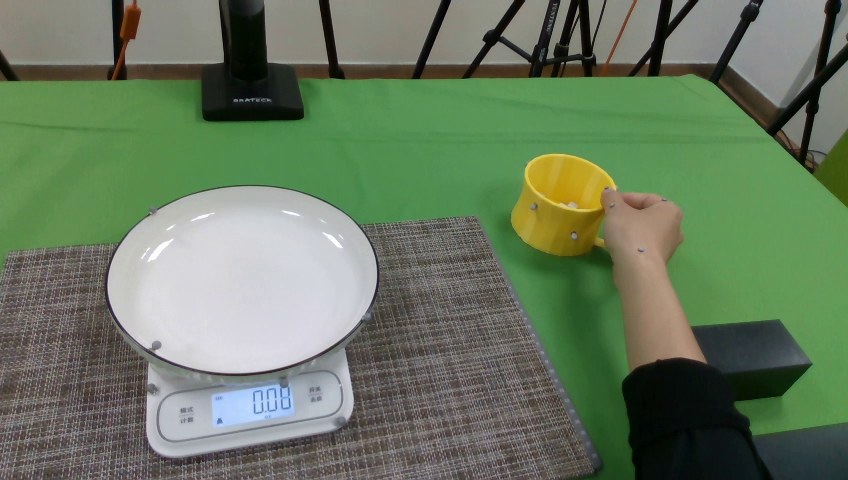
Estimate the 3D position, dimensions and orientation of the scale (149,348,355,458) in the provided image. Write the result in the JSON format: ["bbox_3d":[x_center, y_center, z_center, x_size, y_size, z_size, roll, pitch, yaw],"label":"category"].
[{"bbox_3d":[-0.144,0.074,0.502,0.149,0.032,0.198,-5,46,-16],"label":"scale"}]

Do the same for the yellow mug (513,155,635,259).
[{"bbox_3d":[0.166,-0.030,0.656,0.130,0.064,0.099,29,46,17],"label":"yellow mug"}]

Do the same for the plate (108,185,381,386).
[{"bbox_3d":[-0.141,0.033,0.497,0.209,0.038,0.207,6,43,-6],"label":"plate"}]
